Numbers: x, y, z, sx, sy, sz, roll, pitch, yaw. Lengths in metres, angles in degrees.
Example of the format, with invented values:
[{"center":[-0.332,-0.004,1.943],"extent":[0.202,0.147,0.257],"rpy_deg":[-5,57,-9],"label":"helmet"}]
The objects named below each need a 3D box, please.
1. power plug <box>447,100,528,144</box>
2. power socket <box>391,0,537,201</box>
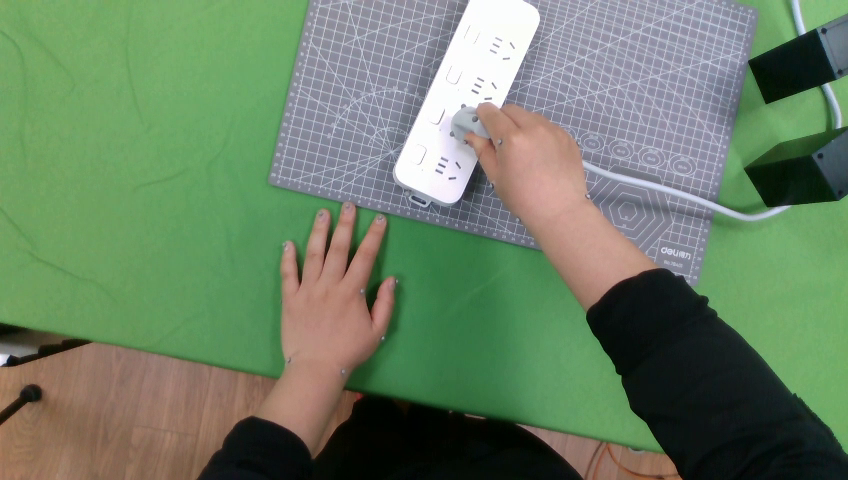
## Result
[{"center":[0.054,-0.100,0.562],"extent":[0.073,0.052,0.035],"rpy_deg":[40,88,-8],"label":"power plug"},{"center":[0.039,-0.145,0.589],"extent":[0.072,0.032,0.226],"rpy_deg":[24,89,-6],"label":"power socket"}]
